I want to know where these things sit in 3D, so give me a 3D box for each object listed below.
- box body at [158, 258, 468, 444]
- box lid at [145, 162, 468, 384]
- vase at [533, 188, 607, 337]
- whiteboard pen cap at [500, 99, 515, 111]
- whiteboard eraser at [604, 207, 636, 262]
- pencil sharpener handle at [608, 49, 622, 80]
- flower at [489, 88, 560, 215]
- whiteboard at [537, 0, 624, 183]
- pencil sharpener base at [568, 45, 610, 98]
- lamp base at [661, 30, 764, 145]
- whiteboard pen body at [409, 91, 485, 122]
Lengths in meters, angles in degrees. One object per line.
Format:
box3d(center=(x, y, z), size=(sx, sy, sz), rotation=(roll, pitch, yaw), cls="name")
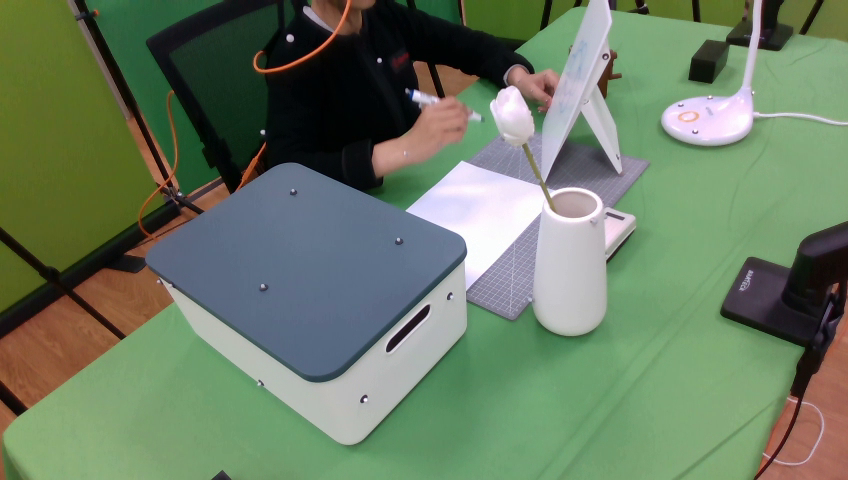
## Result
box3d(center=(-0.147, 0.072, 0.816), size=(0.361, 0.161, 0.255), rotation=(24, 50, 33), cls="box body")
box3d(center=(-0.157, 0.014, 0.769), size=(0.368, 0.015, 0.264), rotation=(25, 51, 33), cls="box lid")
box3d(center=(0.187, 0.033, 0.771), size=(0.098, 0.201, 0.097), rotation=(-6, 41, 6), cls="vase")
box3d(center=(0.177, -0.287, 1.289), size=(0.033, 0.018, 0.018), rotation=(-34, 46, -27), cls="whiteboard pen cap")
box3d(center=(0.272, -0.003, 0.919), size=(0.055, 0.042, 0.113), rotation=(27, 51, 32), cls="whiteboard eraser")
box3d(center=(0.394, -0.367, 1.253), size=(0.030, 0.068, 0.036), rotation=(-8, 32, 1), cls="pencil sharpener handle")
box3d(center=(0.158, -0.028, 0.720), size=(0.038, 0.364, 0.044), rotation=(-14, 44, 23), cls="flower")
box3d(center=(0.316, -0.256, 1.047), size=(0.144, 0.306, 0.216), rotation=(15, 42, -1), cls="whiteboard")
box3d(center=(0.345, -0.352, 1.263), size=(0.077, 0.107, 0.061), rotation=(-8, 40, 1), cls="pencil sharpener base")
box3d(center=(0.535, -0.287, 1.096), size=(0.179, 0.181, 0.159), rotation=(-10, 40, -4), cls="lamp base")
box3d(center=(0.041, -0.230, 1.051), size=(0.141, 0.017, 0.017), rotation=(17, 40, -12), cls="whiteboard pen body")
